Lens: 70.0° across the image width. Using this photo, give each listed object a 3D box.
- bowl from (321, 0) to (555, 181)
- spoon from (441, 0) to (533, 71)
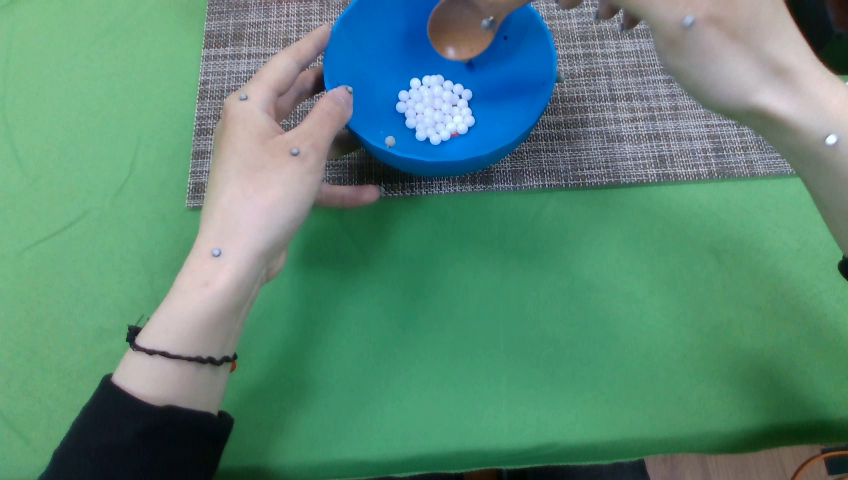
[{"bbox_3d":[0.010,-0.098,0.421,0.151,0.077,0.150,0,68,1],"label":"bowl"},{"bbox_3d":[0.060,-0.133,0.332,0.022,0.193,0.041,0,89,-24],"label":"spoon"}]
